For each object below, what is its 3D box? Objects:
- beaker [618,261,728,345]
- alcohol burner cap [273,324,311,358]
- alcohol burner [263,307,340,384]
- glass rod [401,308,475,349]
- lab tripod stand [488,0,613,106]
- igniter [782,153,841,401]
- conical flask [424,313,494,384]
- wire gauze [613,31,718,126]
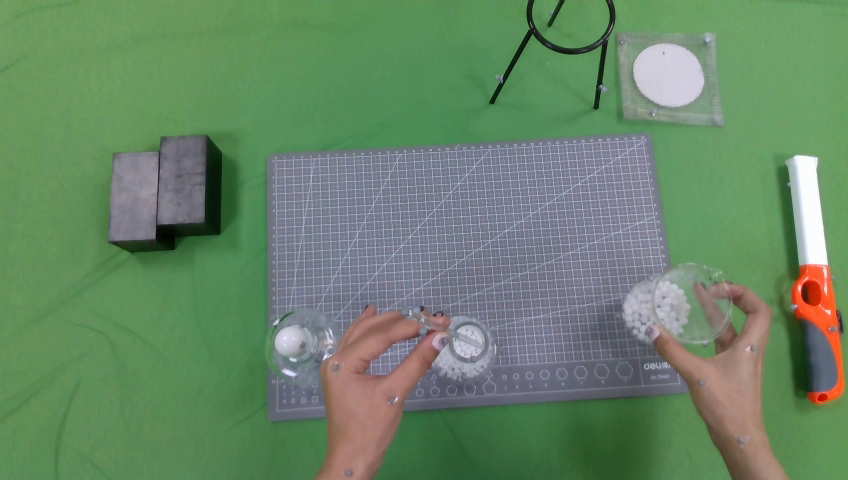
[{"bbox_3d":[0.241,0.064,0.597,0.084,0.100,0.074,-44,82,-9],"label":"beaker"},{"bbox_3d":[-0.125,0.094,0.568,0.034,0.048,0.033,1,80,-4],"label":"alcohol burner cap"},{"bbox_3d":[-0.126,0.103,0.603,0.078,0.119,0.077,0,76,2],"label":"alcohol burner"},{"bbox_3d":[0.016,0.073,0.485,0.008,0.201,0.008,-5,73,16],"label":"glass rod"},{"bbox_3d":[0.142,-0.212,0.671,0.148,0.132,0.147,0,79,0],"label":"lab tripod stand"},{"bbox_3d":[0.428,0.037,0.671,0.057,0.025,0.275,4,77,-10],"label":"igniter"},{"bbox_3d":[0.038,0.104,0.600,0.075,0.122,0.075,0,76,0],"label":"conical flask"},{"bbox_3d":[0.293,-0.199,0.734,0.125,0.011,0.121,3,78,-2],"label":"wire gauze"}]
